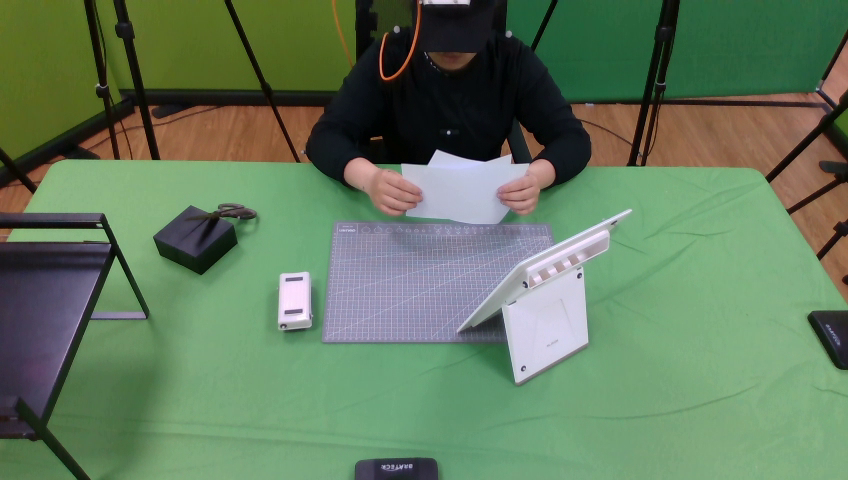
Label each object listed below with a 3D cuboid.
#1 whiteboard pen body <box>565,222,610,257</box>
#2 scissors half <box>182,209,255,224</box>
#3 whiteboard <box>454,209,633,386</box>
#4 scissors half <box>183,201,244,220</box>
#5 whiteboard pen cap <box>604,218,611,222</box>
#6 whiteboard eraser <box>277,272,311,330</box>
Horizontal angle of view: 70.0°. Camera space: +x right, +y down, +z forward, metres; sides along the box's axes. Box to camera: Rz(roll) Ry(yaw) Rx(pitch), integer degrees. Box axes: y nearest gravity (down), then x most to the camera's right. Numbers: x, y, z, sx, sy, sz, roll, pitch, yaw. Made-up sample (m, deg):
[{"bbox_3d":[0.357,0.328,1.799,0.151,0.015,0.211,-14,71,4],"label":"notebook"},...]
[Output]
[{"bbox_3d":[0.335,-0.004,1.228,0.141,0.017,0.017,-32,56,-29],"label":"whiteboard pen body"},{"bbox_3d":[-0.389,-0.043,1.158,0.040,0.013,0.175,38,21,23],"label":"scissors half"},{"bbox_3d":[0.211,0.111,0.954,0.217,0.306,0.143,-22,72,-24],"label":"whiteboard"},{"bbox_3d":[-0.405,-0.054,1.163,0.040,0.013,0.175,27,18,8],"label":"scissors half"},{"bbox_3d":[0.378,-0.031,1.255,0.033,0.018,0.018,-33,57,-29],"label":"whiteboard pen cap"},{"bbox_3d":[-0.228,0.108,1.062,0.056,0.042,0.112,-3,46,-10],"label":"whiteboard eraser"}]
